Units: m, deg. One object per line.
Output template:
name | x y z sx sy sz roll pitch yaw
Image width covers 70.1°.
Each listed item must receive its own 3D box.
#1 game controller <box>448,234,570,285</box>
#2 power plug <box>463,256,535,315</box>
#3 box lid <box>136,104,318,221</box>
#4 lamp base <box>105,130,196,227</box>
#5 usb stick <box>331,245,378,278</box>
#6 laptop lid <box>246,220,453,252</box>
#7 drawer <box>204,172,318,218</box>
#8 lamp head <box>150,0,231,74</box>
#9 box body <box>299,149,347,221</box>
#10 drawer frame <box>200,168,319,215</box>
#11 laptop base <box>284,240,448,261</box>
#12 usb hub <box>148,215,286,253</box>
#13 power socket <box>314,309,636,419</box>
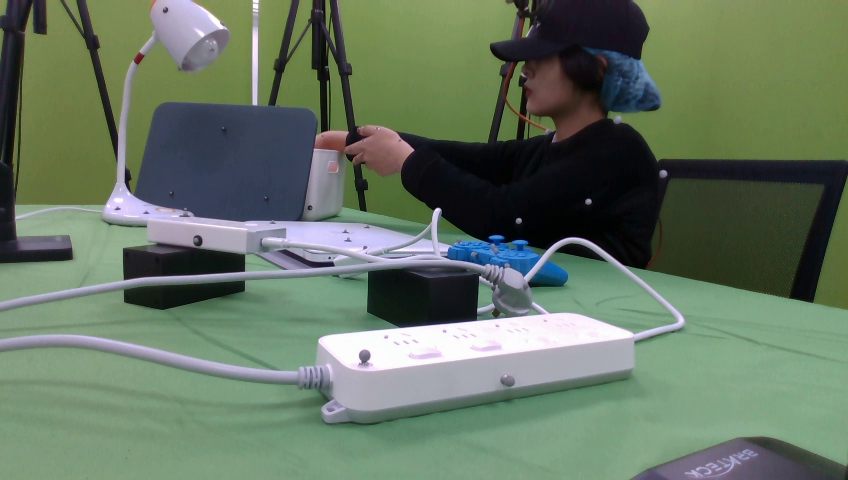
game controller | 0.099 0.021 0.756 0.097 0.051 0.154 -7 10 -29
power plug | 0.064 0.039 0.530 0.072 0.052 0.035 32 43 7
box lid | -0.411 -0.162 1.266 0.371 0.263 0.015 3 -15 9
lamp base | -0.532 -0.120 1.153 0.179 0.180 0.161 1 7 8
usb stick | -0.085 0.026 0.702 0.059 0.027 0.021 -18 18 27
laptop lid | -0.123 -0.009 0.945 0.243 0.013 0.355 1 7 -29
drawer | -0.368 -0.106 1.398 0.212 0.073 0.194 -8 9 3
lamp head | -0.432 -0.374 1.086 0.123 0.112 0.112 42 8 -3
box body | -0.384 -0.137 1.406 0.364 0.160 0.254 3 8 7
drawer frame | -0.371 -0.115 1.398 0.214 0.082 0.201 -7 6 2
laptop base | -0.125 0.002 0.945 0.237 0.023 0.352 2 6 -31
usb hub | -0.197 -0.006 0.575 0.125 0.025 0.050 6 6 22
power socket | 0.039 0.072 0.385 0.228 0.032 0.072 -2 7 -28
